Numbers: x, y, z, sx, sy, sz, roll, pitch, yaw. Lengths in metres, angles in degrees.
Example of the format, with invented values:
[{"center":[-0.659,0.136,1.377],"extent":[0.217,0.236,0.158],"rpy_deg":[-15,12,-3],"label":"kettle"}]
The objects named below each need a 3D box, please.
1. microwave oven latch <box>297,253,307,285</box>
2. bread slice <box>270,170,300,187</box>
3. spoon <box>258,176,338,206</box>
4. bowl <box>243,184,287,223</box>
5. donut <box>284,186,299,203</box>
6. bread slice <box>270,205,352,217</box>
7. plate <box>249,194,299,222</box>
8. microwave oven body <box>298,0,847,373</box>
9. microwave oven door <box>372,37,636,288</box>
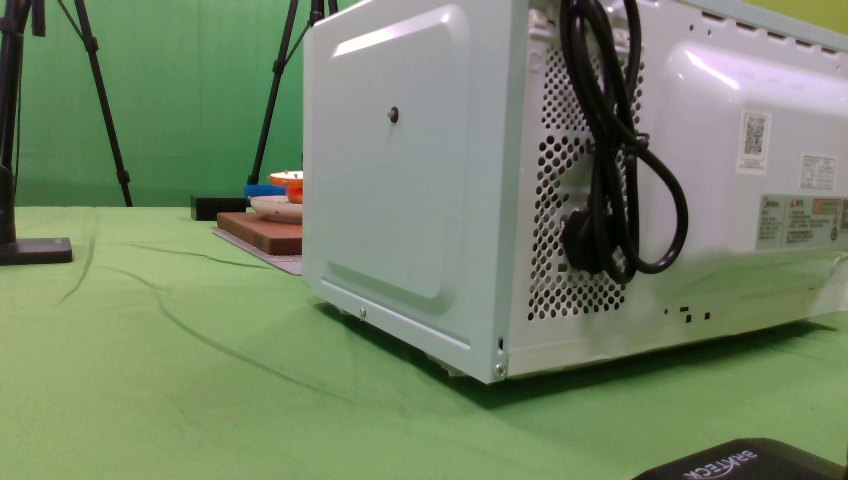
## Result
[{"center":[-0.082,0.027,0.582],"extent":[0.079,0.029,0.030],"rpy_deg":[-1,7,-32],"label":"microwave oven latch"},{"center":[-0.213,-0.116,1.112],"extent":[0.106,0.018,0.135],"rpy_deg":[9,16,38],"label":"bread slice"},{"center":[-0.279,-0.112,1.356],"extent":[0.194,0.021,0.041],"rpy_deg":[-27,18,-27],"label":"spoon"},{"center":[-0.321,-0.081,1.334],"extent":[0.151,0.077,0.151],"rpy_deg":[3,7,0],"label":"bowl"},{"center":[-0.210,-0.087,1.124],"extent":[0.099,0.048,0.099],"rpy_deg":[3,0,0],"label":"donut"},{"center":[-0.213,-0.054,1.116],"extent":[0.104,0.019,0.132],"rpy_deg":[6,5,41],"label":"bread slice"},{"center":[-0.217,-0.058,1.122],"extent":[0.208,0.039,0.207],"rpy_deg":[3,8,0],"label":"plate"},{"center":[0.151,-0.055,0.543],"extent":[0.444,0.260,0.324],"rpy_deg":[-1,7,-33],"label":"microwave oven body"},{"center":[0.110,-0.080,0.686],"extent":[0.358,0.243,0.039],"rpy_deg":[-2,9,-33],"label":"microwave oven door"}]
